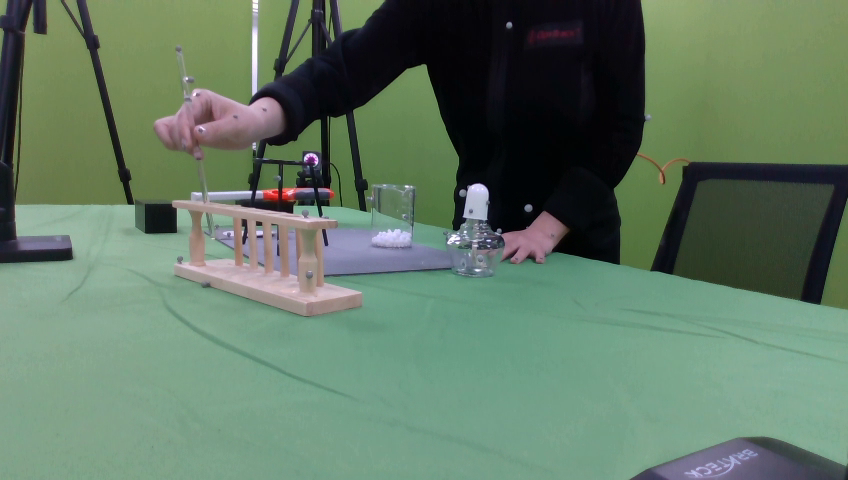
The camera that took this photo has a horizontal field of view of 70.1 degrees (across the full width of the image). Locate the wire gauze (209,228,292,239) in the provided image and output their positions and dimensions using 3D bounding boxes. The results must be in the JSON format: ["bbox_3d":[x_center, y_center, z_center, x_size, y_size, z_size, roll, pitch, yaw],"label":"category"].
[{"bbox_3d":[-0.298,-0.013,1.039,0.122,0.011,0.124,-2,6,-27],"label":"wire gauze"}]

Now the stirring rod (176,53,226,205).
[{"bbox_3d":[-0.236,-0.111,0.645,0.006,0.176,0.014,-16,8,-13],"label":"stirring rod"}]

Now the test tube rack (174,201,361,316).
[{"bbox_3d":[-0.169,0.010,0.621,0.241,0.085,0.067,9,9,41],"label":"test tube rack"}]

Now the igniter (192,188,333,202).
[{"bbox_3d":[-0.316,-0.090,1.212,0.278,0.025,0.057,-5,12,-32],"label":"igniter"}]

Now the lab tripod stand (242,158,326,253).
[{"bbox_3d":[-0.207,-0.054,0.895,0.148,0.131,0.148,2,5,0],"label":"lab tripod stand"}]

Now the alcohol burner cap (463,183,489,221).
[{"bbox_3d":[0.067,-0.048,0.765,0.034,0.048,0.034,5,5,0],"label":"alcohol burner cap"}]

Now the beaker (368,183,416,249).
[{"bbox_3d":[-0.050,-0.039,0.971,0.074,0.100,0.083,-1,9,-25],"label":"beaker"}]

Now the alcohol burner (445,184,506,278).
[{"bbox_3d":[0.065,-0.012,0.770,0.078,0.119,0.078,0,7,0],"label":"alcohol burner"}]
